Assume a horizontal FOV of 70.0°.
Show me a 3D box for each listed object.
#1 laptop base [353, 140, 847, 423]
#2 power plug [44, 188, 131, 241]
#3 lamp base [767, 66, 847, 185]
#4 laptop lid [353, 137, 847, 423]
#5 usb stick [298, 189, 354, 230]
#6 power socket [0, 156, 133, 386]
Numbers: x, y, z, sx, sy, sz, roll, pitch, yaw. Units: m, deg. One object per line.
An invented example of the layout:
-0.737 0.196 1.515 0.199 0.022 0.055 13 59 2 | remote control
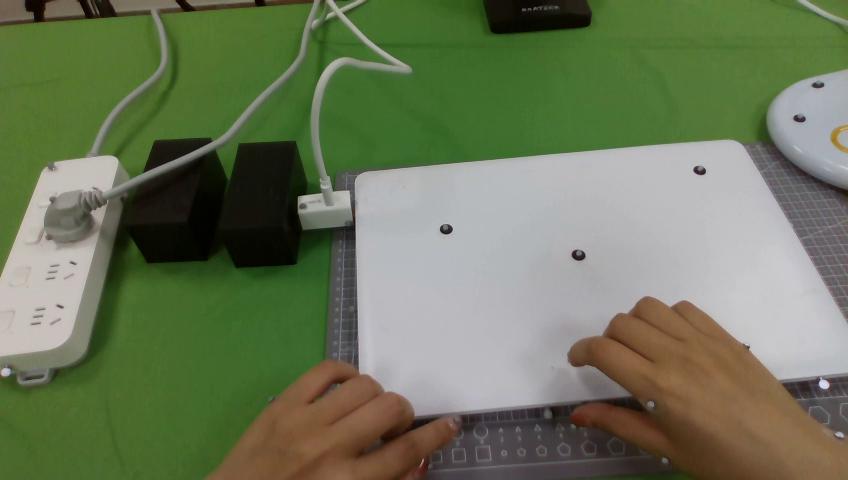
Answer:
0.122 0.019 0.486 0.354 0.023 0.233 -5 54 -2 | laptop base
-0.271 -0.014 0.492 0.072 0.053 0.035 2 51 4 | power plug
0.411 -0.161 0.515 0.159 0.182 0.179 27 53 23 | lamp base
0.122 0.014 0.475 0.357 0.013 0.239 -4 53 -1 | laptop lid
-0.076 -0.026 0.516 0.059 0.027 0.021 -5 50 -7 | usb stick
-0.298 0.011 0.503 0.072 0.033 0.224 -6 50 -4 | power socket
